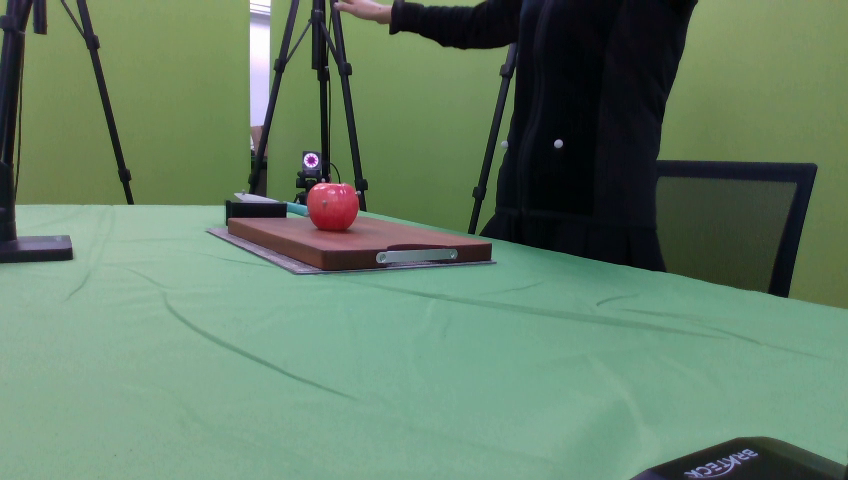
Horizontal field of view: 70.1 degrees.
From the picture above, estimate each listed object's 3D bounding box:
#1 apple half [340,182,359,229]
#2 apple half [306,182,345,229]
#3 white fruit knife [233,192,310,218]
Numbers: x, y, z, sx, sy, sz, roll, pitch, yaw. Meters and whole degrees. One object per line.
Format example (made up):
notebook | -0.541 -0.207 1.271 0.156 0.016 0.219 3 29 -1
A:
apple half | -0.120 -0.056 0.963 0.033 0.081 0.081 -5 9 -20
apple half | -0.158 -0.054 0.950 0.053 0.074 0.080 -4 13 -20
white fruit knife | -0.276 -0.066 1.211 0.208 0.027 0.016 14 1 -24
